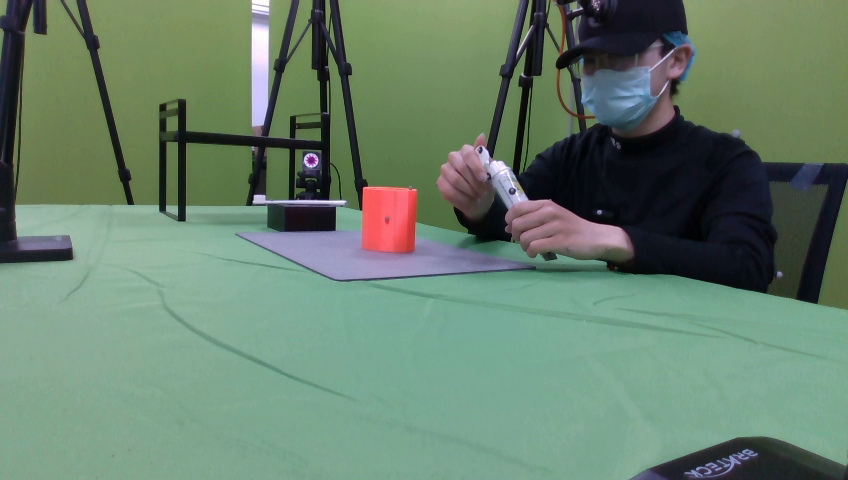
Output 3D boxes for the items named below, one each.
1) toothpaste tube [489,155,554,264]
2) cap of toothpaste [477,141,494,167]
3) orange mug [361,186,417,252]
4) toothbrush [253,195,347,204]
[{"bbox_3d":[0.136,-0.045,0.847,0.034,0.165,0.055,-32,-11,39],"label":"toothpaste tube"},{"bbox_3d":[0.088,-0.122,0.854,0.011,0.037,0.037,-9,12,-25],"label":"cap of toothpaste"},{"bbox_3d":[-0.054,-0.039,0.962,0.083,0.101,0.126,2,12,0],"label":"orange mug"},{"bbox_3d":[-0.234,-0.076,1.154,0.183,0.016,0.014,-1,5,-27],"label":"toothbrush"}]
